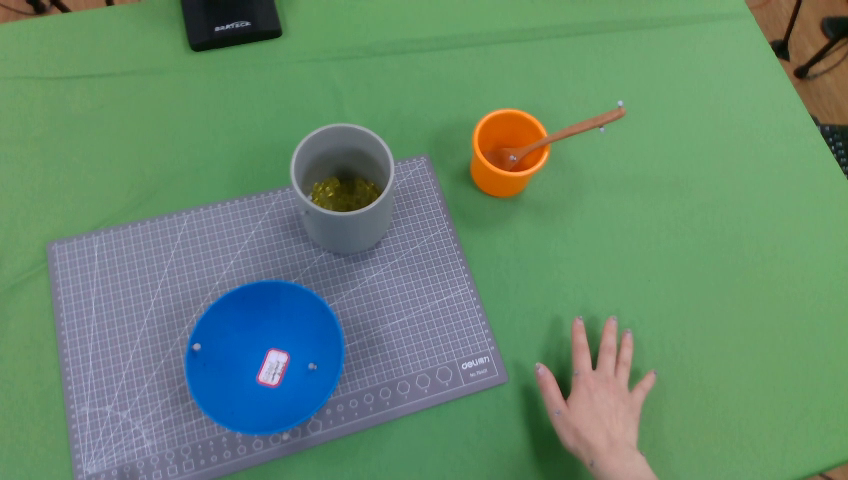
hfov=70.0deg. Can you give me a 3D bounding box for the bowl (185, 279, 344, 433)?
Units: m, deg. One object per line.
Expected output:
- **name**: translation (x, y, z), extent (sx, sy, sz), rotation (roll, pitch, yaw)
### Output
- **bowl**: translation (-0.156, 0.122, 0.618), extent (0.151, 0.077, 0.150), rotation (2, 69, -5)

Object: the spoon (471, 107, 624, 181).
- **spoon**: translation (0.138, -0.113, 0.702), extent (0.022, 0.193, 0.041), rotation (18, 60, -47)

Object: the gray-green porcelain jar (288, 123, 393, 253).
- **gray-green porcelain jar**: translation (-0.088, -0.050, 0.665), extent (0.106, 0.127, 0.105), rotation (2, 69, -5)
